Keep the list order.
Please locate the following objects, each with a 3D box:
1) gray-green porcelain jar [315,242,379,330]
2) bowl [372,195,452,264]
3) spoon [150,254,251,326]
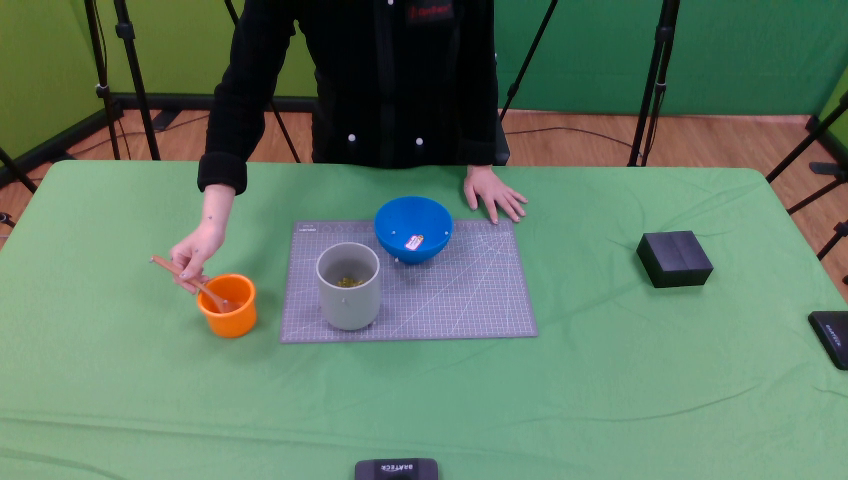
[{"bbox_3d":[-0.129,0.084,1.031,0.106,0.127,0.105,2,46,-2],"label":"gray-green porcelain jar"},{"bbox_3d":[-0.023,-0.008,1.161,0.151,0.077,0.150,2,46,-2],"label":"bowl"},{"bbox_3d":[-0.366,0.082,1.001,0.021,0.195,0.041,-25,33,33],"label":"spoon"}]
